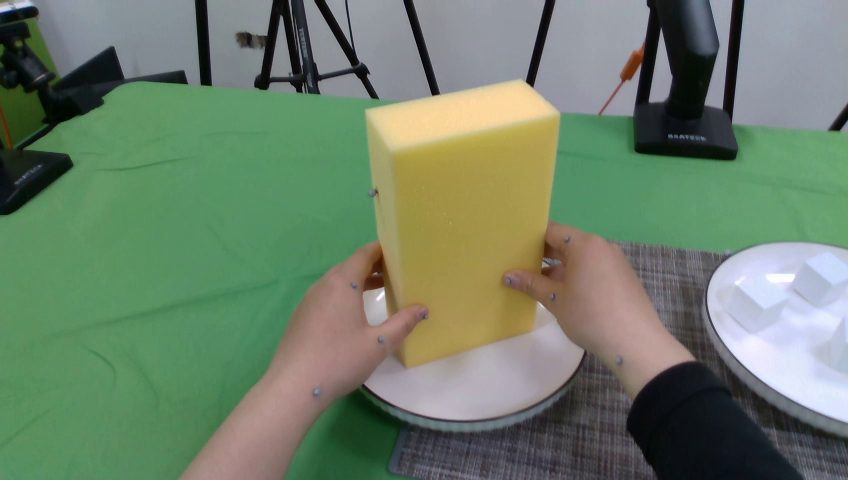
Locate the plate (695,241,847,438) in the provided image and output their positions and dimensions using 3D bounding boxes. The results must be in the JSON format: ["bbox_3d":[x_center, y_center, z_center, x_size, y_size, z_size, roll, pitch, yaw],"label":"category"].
[{"bbox_3d":[0.328,0.079,0.492,0.207,0.039,0.205,-1,39,2],"label":"plate"}]

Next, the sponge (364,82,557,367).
[{"bbox_3d":[0.025,-0.005,0.465,0.118,0.208,0.060,-13,41,-15],"label":"sponge"}]

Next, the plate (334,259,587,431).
[{"bbox_3d":[0.030,0.077,0.513,0.209,0.038,0.207,-1,38,1],"label":"plate"}]
